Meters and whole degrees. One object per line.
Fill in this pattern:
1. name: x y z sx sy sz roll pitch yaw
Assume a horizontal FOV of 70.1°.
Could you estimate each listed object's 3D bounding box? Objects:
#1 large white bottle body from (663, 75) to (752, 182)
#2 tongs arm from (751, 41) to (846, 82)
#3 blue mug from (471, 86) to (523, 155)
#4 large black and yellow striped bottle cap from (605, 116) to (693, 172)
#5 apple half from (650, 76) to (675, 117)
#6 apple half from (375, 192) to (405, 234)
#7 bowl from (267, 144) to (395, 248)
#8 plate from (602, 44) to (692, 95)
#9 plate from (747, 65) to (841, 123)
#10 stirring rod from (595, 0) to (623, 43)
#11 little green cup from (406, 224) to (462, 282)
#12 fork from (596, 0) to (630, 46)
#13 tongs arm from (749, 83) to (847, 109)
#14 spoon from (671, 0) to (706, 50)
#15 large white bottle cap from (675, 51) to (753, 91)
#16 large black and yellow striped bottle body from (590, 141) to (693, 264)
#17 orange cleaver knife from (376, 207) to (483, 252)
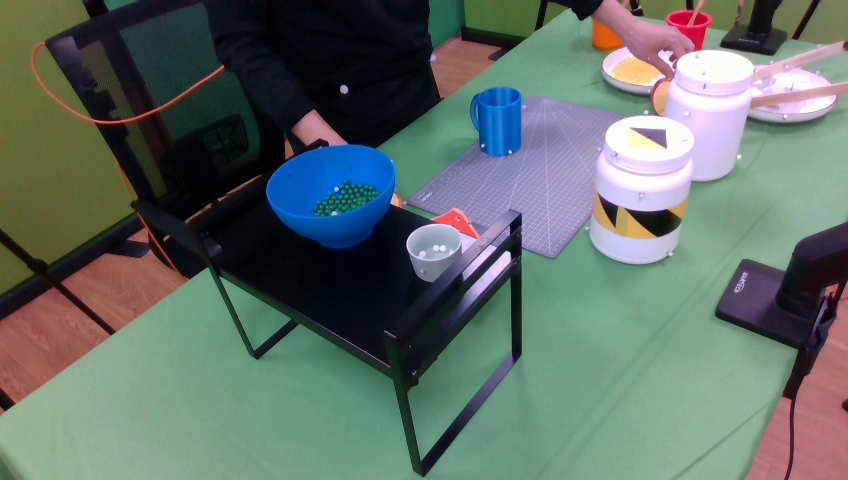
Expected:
1. large white bottle body: 0.472 -0.207 1.022 0.130 0.185 0.130 -4 41 4
2. tongs arm: 0.708 -0.331 1.194 0.386 0.026 0.050 -19 45 -16
3. blue mug: 0.135 -0.235 1.163 0.082 0.106 0.115 -36 48 -28
4. large black and yellow striped bottle cap: 0.309 -0.134 0.833 0.115 0.019 0.114 -5 41 5
5. apple half: 0.489 -0.287 1.200 0.080 0.075 0.053 -8 30 9
6. apple half: -0.058 -0.052 1.018 0.080 0.081 0.033 30 30 36
7. bowl: -0.104 -0.043 0.726 0.151 0.077 0.150 -4 40 4
8. plate: 0.495 -0.367 1.317 0.209 0.038 0.208 -4 40 4
9. plate: 0.695 -0.283 1.189 0.207 0.039 0.206 -4 40 4
10. stirring rod: 0.460 -0.556 1.459 0.014 0.006 0.176 30 93 23
11. little green cup: 0.012 0.015 0.668 0.061 0.039 0.061 -4 40 4
12. fork: 0.481 -0.556 1.452 0.028 0.019 0.207 40 103 41
13. tongs arm: 0.734 -0.280 1.133 0.388 0.028 0.028 -9 47 -5
14. spoon: 0.629 -0.520 1.394 0.041 0.022 0.193 30 97 34
15. large white bottle cap: 0.463 -0.271 0.967 0.115 0.018 0.114 -4 40 3
16. large black and yellow striped bottle body: 0.317 -0.071 0.889 0.131 0.185 0.130 -4 41 4
17. orange cleaver knife: 0.004 -0.009 0.942 0.210 0.077 0.012 -4 28 46
